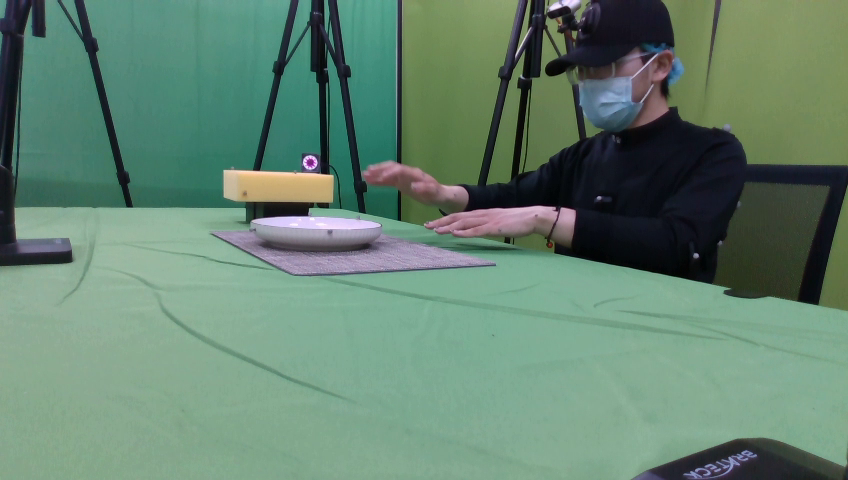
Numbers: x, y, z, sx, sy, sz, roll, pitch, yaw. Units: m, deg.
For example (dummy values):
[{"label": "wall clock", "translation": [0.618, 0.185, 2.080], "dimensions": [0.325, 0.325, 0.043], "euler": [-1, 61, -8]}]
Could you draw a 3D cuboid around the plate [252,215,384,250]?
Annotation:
[{"label": "plate", "translation": [-0.169, -0.012, 0.976], "dimensions": [0.208, 0.039, 0.207], "euler": [2, 7, 0]}]

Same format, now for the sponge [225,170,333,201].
[{"label": "sponge", "translation": [-0.314, -0.117, 1.306], "dimensions": [0.208, 0.061, 0.117], "euler": [-3, 9, -31]}]
